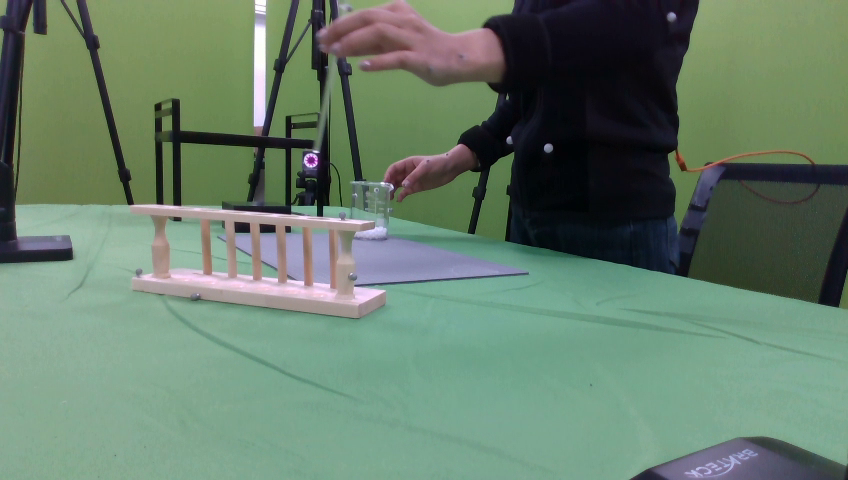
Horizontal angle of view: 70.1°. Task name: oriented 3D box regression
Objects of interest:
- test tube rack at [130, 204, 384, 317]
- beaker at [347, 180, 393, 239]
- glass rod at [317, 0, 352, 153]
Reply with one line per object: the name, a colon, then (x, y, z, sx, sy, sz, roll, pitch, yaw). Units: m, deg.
test tube rack: (-0.163, 0.013, 0.589, 0.242, 0.085, 0.067, 5, 8, 17)
beaker: (-0.095, -0.054, 1.064, 0.084, 0.100, 0.074, 6, 9, 21)
glass rod: (-0.090, -0.187, 0.628, 0.008, 0.199, 0.008, 13, 15, -3)
